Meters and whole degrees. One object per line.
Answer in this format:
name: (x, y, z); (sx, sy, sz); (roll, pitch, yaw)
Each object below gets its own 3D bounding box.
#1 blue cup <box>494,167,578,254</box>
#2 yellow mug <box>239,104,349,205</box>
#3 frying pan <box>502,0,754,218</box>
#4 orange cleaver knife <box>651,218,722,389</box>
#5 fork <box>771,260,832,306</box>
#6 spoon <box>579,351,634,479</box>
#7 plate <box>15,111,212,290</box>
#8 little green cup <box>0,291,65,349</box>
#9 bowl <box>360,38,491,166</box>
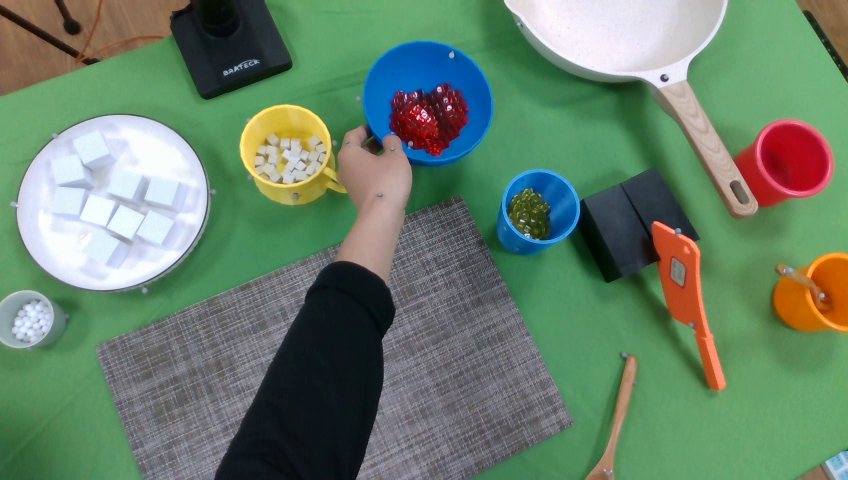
blue cup: (0.119, -0.025, 0.692); (0.093, 0.100, 0.092); (1, 75, -5)
yellow mug: (-0.144, -0.090, 0.703); (0.131, 0.064, 0.099); (29, 76, 2)
frying pan: (0.271, -0.241, 0.752); (0.307, 0.103, 0.484); (-19, 71, -8)
orange cleaver knife: (0.300, 0.074, 0.695); (0.012, 0.076, 0.212); (-24, 109, -9)
fork: (0.425, 0.048, 0.676); (0.209, 0.018, 0.028); (19, 71, -45)
spoon: (0.212, 0.218, 0.685); (0.041, 0.022, 0.193); (18, 76, 12)
plate: (-0.346, -0.044, 0.691); (0.208, 0.039, 0.206); (1, 77, -4)
little green cup: (-0.422, 0.088, 0.653); (0.061, 0.039, 0.061); (1, 77, -6)
bowl: (-0.003, -0.150, 0.717); (0.152, 0.077, 0.150); (2, 77, -8)
